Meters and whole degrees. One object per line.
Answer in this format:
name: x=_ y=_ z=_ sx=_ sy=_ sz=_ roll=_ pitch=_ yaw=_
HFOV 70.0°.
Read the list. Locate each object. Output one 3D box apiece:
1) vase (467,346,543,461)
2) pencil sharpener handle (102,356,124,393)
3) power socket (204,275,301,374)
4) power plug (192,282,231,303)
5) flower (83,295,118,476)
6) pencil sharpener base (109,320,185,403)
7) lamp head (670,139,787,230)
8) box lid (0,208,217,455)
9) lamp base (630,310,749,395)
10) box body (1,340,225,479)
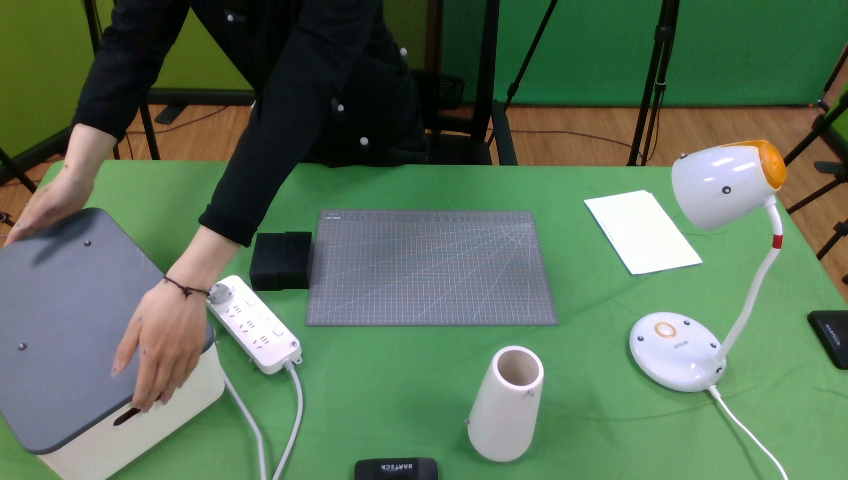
vase: x=0.116 y=0.235 z=0.860 sx=0.098 sy=0.201 sz=0.097 roll=1 pitch=47 yaw=-1
pencil sharpener handle: x=-0.460 y=0.200 z=0.887 sx=0.030 sy=0.068 sz=0.036 roll=-30 pitch=59 yaw=-28
power socket: x=-0.296 y=0.140 z=1.035 sx=0.072 sy=0.033 sz=0.225 roll=-32 pitch=57 yaw=-29
power plug: x=-0.369 y=0.097 z=1.039 sx=0.072 sy=0.053 sz=0.035 roll=-25 pitch=56 yaw=-20
flower: x=-0.513 y=0.210 z=0.960 sx=0.044 sy=0.038 sz=0.359 roll=5 pitch=35 yaw=-32
pencil sharpener base: x=-0.420 y=0.187 z=0.919 sx=0.077 sy=0.107 sz=0.061 roll=-29 pitch=55 yaw=-28
lamp head: x=0.415 y=-0.078 z=0.811 sx=0.113 sy=0.123 sz=0.112 roll=12 pitch=70 yaw=-37
box lid: x=-0.502 y=0.101 z=0.863 sx=0.369 sy=0.015 sz=0.263 roll=37 pitch=54 yaw=26
lamp base: x=0.447 y=0.143 z=0.984 sx=0.161 sy=0.181 sz=0.178 roll=-24 pitch=55 yaw=-24
box body: x=-0.504 y=0.154 z=0.917 sx=0.362 sy=0.161 sz=0.254 roll=36 pitch=54 yaw=27
